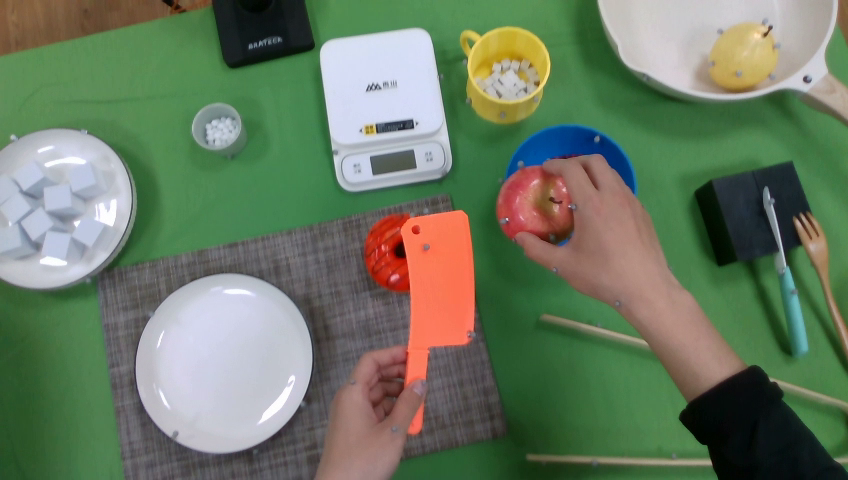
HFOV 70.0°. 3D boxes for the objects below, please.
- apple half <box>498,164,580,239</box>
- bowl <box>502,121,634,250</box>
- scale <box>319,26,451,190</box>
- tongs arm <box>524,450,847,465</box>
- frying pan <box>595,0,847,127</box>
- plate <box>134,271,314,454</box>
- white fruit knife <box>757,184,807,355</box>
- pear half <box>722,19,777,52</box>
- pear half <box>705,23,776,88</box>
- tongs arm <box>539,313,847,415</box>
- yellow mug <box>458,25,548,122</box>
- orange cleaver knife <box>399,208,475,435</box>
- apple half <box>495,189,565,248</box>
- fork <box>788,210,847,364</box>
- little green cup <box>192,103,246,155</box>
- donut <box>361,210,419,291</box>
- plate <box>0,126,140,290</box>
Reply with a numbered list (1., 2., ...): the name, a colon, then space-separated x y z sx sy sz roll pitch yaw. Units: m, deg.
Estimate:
1. apple half: 0.117 -0.043 0.588 0.081 0.075 0.053 37 81 1
2. bowl: 0.165 -0.056 0.724 0.151 0.077 0.151 0 80 2
3. scale: -0.051 -0.170 0.773 0.149 0.031 0.200 -9 80 0
4. tongs arm: 0.308 0.231 0.687 0.385 0.026 0.050 3 78 1
5. frying pan: 0.421 -0.230 0.736 0.307 0.103 0.484 -39 73 -5
6. plate: -0.231 0.141 0.713 0.209 0.038 0.208 0 80 2
7. white fruit knife: 0.411 0.036 0.699 0.016 0.027 0.207 -15 94 0
8. pear half: 0.400 -0.251 0.743 0.070 0.088 0.031 21 82 9
9. pear half: 0.383 -0.221 0.728 0.076 0.110 0.056 23 81 9
10. tongs arm: 0.321 0.148 0.702 0.387 0.028 0.028 17 75 3
11. yellow mug: 0.090 -0.218 0.761 0.130 0.064 0.100 44 84 10
12. orange cleaver knife: 0.011 0.072 0.563 0.077 0.012 0.210 5 81 -14
13. apple half: 0.094 -0.012 0.582 0.081 0.081 0.033 36 79 8
14. fork: 0.468 0.063 0.701 0.028 0.018 0.207 -22 95 -5
15. little green cup: -0.257 -0.138 0.770 0.061 0.039 0.061 0 79 2
16. donut: -0.028 0.013 0.728 0.099 0.048 0.098 -1 80 4
17. plate: -0.454 -0.039 0.756 0.207 0.039 0.206 0 79 1
